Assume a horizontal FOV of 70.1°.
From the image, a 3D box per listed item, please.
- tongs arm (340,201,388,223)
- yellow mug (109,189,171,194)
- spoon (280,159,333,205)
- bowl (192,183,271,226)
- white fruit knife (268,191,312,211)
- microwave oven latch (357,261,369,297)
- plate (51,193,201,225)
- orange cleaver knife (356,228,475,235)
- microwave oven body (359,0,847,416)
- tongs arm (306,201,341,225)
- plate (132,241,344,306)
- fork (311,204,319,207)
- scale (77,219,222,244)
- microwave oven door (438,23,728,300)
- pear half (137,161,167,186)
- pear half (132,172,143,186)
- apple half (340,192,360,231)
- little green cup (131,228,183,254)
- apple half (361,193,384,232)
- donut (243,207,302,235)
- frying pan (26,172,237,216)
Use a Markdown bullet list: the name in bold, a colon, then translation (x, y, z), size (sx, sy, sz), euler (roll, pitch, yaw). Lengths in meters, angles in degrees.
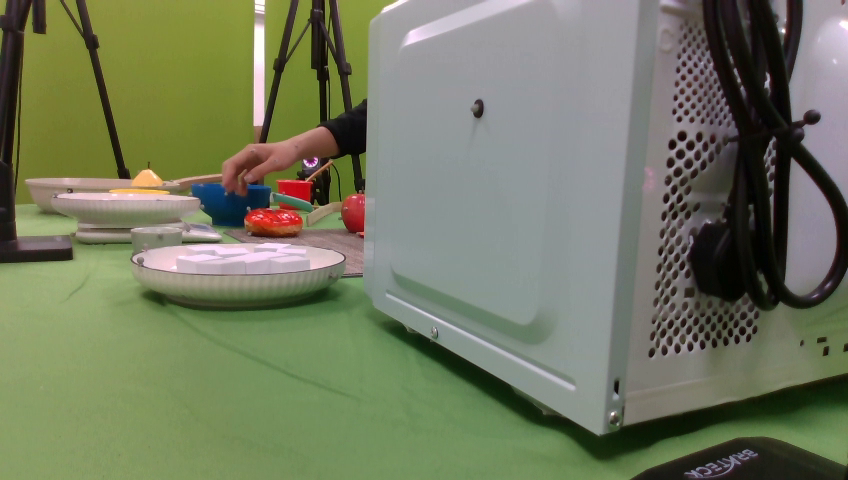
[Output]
- **tongs arm**: translation (-0.149, -0.069, 1.429), size (0.051, 0.026, 0.383), euler (-4, 8, -15)
- **yellow mug**: translation (-0.519, -0.055, 1.080), size (0.099, 0.064, 0.131), euler (7, 10, 26)
- **spoon**: translation (-0.317, -0.159, 1.640), size (0.194, 0.022, 0.041), euler (-49, 32, -20)
- **bowl**: translation (-0.382, -0.071, 1.202), size (0.151, 0.077, 0.151), euler (3, 7, 0)
- **white fruit knife**: translation (-0.364, -0.105, 1.464), size (0.208, 0.027, 0.016), euler (15, 0, -34)
- **microwave oven latch**: translation (-0.019, 0.033, 0.530), size (0.079, 0.029, 0.030), euler (-1, 7, -26)
- **plate**: translation (-0.460, -0.050, 0.945), size (0.209, 0.038, 0.209), euler (2, 7, 0)
- **orange cleaver knife**: translation (-0.017, -0.015, 1.080), size (0.211, 0.012, 0.077), euler (0, 2, -3)
- **microwave oven body**: translation (0.211, -0.047, 0.474), size (0.444, 0.260, 0.324), euler (-1, 7, -28)
- **tongs arm**: translation (-0.235, -0.067, 1.414), size (0.028, 0.028, 0.387), euler (-6, 7, 1)
- **plate**: translation (-0.187, 0.033, 0.625), size (0.208, 0.039, 0.207), euler (2, 7, 0)
- **fork**: translation (-0.356, -0.105, 1.526), size (0.208, 0.018, 0.028), euler (16, -6, -41)
- **scale**: translation (-0.434, -0.018, 0.963), size (0.202, 0.031, 0.148), euler (-1, 8, -27)
- **microwave oven door**: translation (0.181, -0.073, 0.621), size (0.358, 0.243, 0.039), euler (-2, 8, -29)
- **pear half**: translation (-0.602, -0.120, 1.354), size (0.056, 0.110, 0.076), euler (4, 11, 6)
- **pear half**: translation (-0.638, -0.113, 1.361), size (0.031, 0.088, 0.070), euler (5, 10, 4)
- **apple half**: translation (-0.130, -0.054, 1.143), size (0.053, 0.074, 0.081), euler (0, 11, 12)
- **little green cup**: translation (-0.342, 0.006, 0.779), size (0.061, 0.038, 0.061), euler (2, 8, 0)
- **apple half**: translation (-0.092, -0.053, 1.136), size (0.033, 0.081, 0.081), euler (0, 7, 13)
- **donut**: translation (-0.261, -0.032, 1.043), size (0.099, 0.048, 0.099), euler (4, 8, 0)
- **frying pan**: translation (-0.624, -0.118, 1.387), size (0.305, 0.102, 0.490), euler (8, 17, 32)
